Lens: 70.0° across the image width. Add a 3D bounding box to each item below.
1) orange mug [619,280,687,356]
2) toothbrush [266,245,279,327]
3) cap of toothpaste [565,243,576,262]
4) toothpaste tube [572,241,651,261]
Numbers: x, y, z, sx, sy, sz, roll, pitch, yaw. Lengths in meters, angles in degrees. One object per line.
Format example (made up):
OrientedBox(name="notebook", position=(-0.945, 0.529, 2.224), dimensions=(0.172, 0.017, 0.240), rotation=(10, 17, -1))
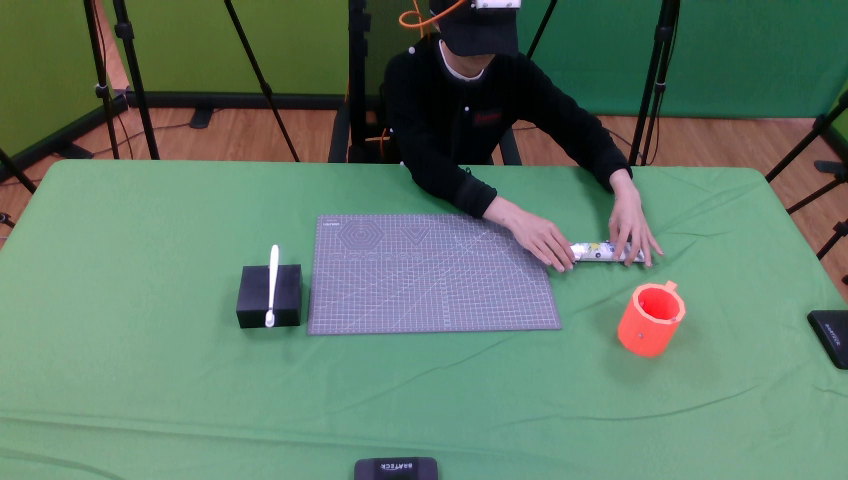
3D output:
OrientedBox(name="orange mug", position=(0.401, 0.125, 1.045), dimensions=(0.083, 0.101, 0.126), rotation=(30, 56, 24))
OrientedBox(name="toothbrush", position=(-0.261, 0.073, 1.042), dimensions=(0.014, 0.017, 0.180), rotation=(-6, 46, -3))
OrientedBox(name="cap of toothpaste", position=(0.285, 0.024, 1.178), dimensions=(0.011, 0.037, 0.037), rotation=(-2, 46, -10))
OrientedBox(name="toothpaste tube", position=(0.363, 0.024, 1.192), dimensions=(0.165, 0.035, 0.054), rotation=(-2, 50, -11))
